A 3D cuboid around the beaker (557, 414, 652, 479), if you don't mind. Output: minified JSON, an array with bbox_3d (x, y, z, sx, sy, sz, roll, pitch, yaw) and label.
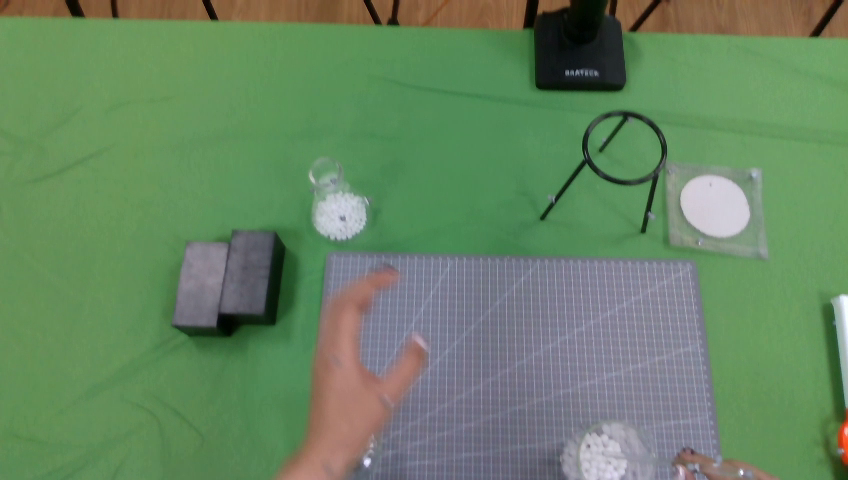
[{"bbox_3d":[0.180,0.217,0.614,0.084,0.101,0.073,-30,72,-11],"label":"beaker"}]

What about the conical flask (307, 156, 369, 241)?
[{"bbox_3d":[-0.107,-0.053,0.709,0.075,0.122,0.075,0,69,1],"label":"conical flask"}]

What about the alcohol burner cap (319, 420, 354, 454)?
[{"bbox_3d":[-0.085,0.189,0.580,0.034,0.048,0.033,1,73,-2],"label":"alcohol burner cap"}]

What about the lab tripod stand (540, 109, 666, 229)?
[{"bbox_3d":[0.212,-0.077,0.709,0.148,0.132,0.147,0,71,1],"label":"lab tripod stand"}]

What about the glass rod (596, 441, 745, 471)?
[{"bbox_3d":[0.193,0.177,0.503,0.008,0.200,0.008,3,75,-12],"label":"glass rod"}]

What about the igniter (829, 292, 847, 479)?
[{"bbox_3d":[0.475,0.191,0.662,0.057,0.025,0.275,10,70,-7],"label":"igniter"}]

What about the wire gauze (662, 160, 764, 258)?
[{"bbox_3d":[0.364,-0.043,0.762,0.125,0.011,0.120,7,70,1],"label":"wire gauze"}]

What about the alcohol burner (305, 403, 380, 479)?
[{"bbox_3d":[-0.085,0.202,0.613,0.078,0.120,0.077,-1,68,3],"label":"alcohol burner"}]
